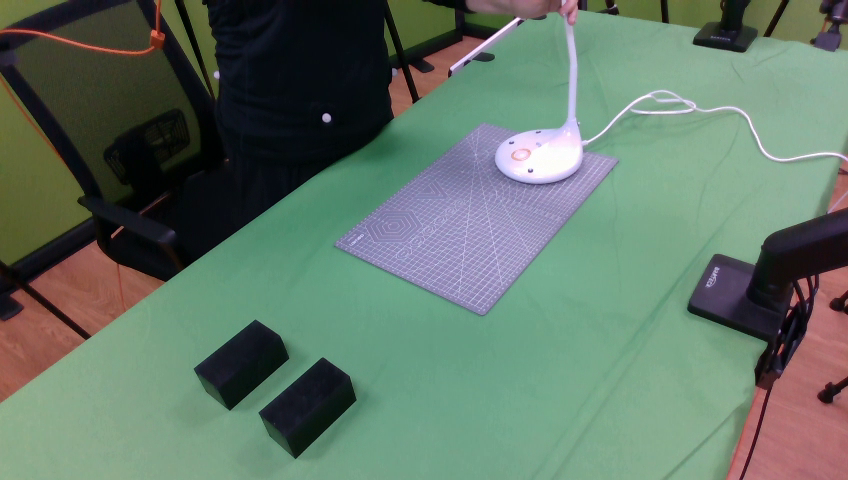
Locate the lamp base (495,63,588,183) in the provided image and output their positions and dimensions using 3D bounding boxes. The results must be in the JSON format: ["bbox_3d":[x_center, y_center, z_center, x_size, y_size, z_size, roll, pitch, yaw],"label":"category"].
[{"bbox_3d":[0.215,-0.217,1.067,0.180,0.181,0.159,-19,42,-18],"label":"lamp base"}]
